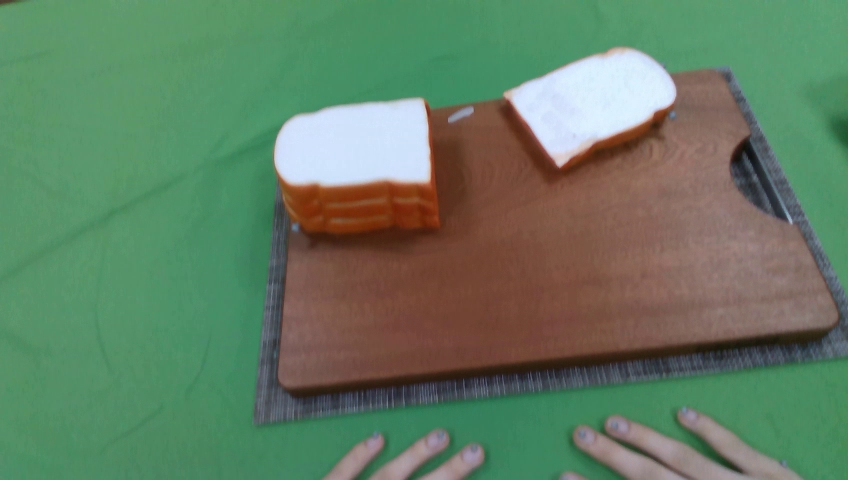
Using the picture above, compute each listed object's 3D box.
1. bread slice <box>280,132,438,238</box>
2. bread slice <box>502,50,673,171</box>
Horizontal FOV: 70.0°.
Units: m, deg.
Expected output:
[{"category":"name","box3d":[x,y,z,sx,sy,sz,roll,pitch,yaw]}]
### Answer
[{"category":"bread slice","box3d":[-0.056,-0.050,0.524,0.134,0.018,0.106,-2,53,2]},{"category":"bread slice","box3d":[0.149,-0.119,0.536,0.131,0.019,0.103,-24,53,-3]}]
